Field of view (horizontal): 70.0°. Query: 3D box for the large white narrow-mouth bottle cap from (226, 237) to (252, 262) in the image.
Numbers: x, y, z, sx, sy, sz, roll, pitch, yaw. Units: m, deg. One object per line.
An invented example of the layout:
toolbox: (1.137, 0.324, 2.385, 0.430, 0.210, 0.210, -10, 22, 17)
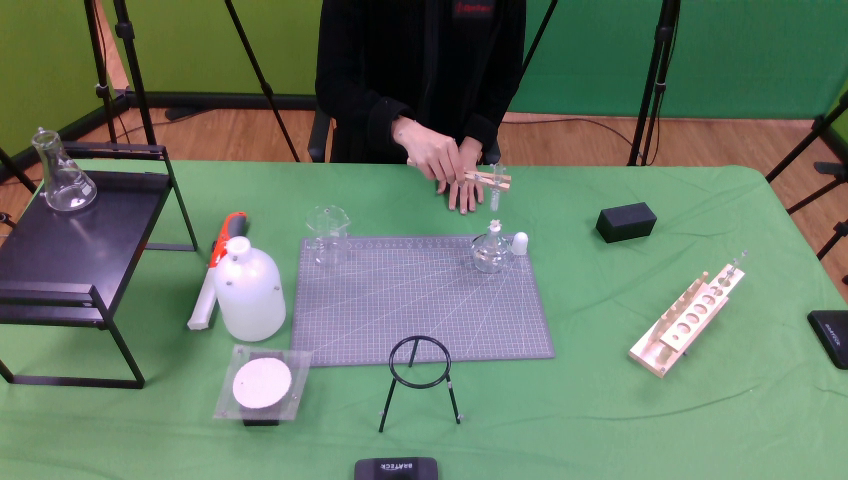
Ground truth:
large white narrow-mouth bottle cap: (-0.282, 0.014, 0.923, 0.038, 0.024, 0.037, 2, 46, -2)

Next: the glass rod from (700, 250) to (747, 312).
glass rod: (0.500, 0.075, 1.021, 0.008, 0.201, 0.008, 0, 54, 1)

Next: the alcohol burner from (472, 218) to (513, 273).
alcohol burner: (0.128, 0.005, 1.132, 0.078, 0.120, 0.077, 0, 47, 0)

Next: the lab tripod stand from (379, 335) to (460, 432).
lab tripod stand: (-0.011, 0.214, 0.911, 0.148, 0.132, 0.147, 1, 45, 0)

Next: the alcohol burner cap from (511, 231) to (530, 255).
alcohol burner cap: (0.191, 0.003, 1.187, 0.034, 0.048, 0.033, 3, 44, -3)

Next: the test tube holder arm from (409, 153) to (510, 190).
test tube holder arm: (0.058, -0.116, 1.016, 0.178, 0.015, 0.013, 18, 76, 10)

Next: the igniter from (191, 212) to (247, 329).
igniter: (-0.376, 0.047, 1.121, 0.057, 0.025, 0.275, -4, 46, 6)

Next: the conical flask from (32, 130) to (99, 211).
conical flask: (-0.565, -0.111, 0.944, 0.075, 0.122, 0.075, 2, 46, -2)

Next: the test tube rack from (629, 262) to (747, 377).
test tube rack: (0.464, 0.126, 1.061, 0.242, 0.085, 0.066, -34, 56, -30)

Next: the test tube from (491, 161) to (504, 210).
test tube: (0.124, -0.089, 1.031, 0.017, 0.151, 0.017, -1, 66, 4)

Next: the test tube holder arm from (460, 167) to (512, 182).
test tube holder arm: (0.103, -0.110, 1.011, 0.088, 0.015, 0.010, 8, 75, 7)

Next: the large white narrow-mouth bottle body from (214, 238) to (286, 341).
large white narrow-mouth bottle body: (-0.285, 0.073, 0.986, 0.102, 0.195, 0.101, 2, 46, -2)

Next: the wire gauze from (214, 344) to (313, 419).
wire gauze: (-0.241, 0.213, 0.915, 0.121, 0.011, 0.124, 5, 46, 1)

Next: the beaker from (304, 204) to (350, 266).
beaker: (-0.178, -0.006, 1.132, 0.084, 0.101, 0.073, 4, 46, -1)
